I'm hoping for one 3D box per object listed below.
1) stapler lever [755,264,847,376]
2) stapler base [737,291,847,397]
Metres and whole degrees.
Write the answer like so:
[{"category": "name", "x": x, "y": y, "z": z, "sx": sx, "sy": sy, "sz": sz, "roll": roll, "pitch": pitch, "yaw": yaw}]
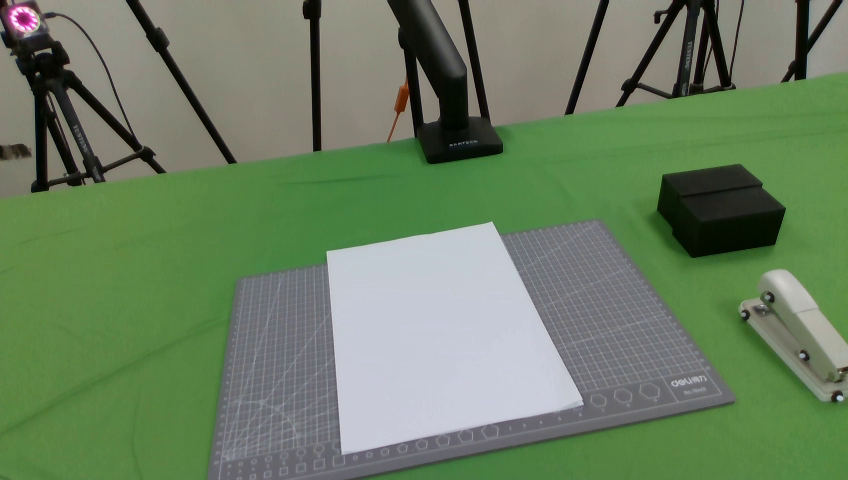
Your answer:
[{"category": "stapler lever", "x": 0.344, "y": 0.067, "z": 0.544, "sx": 0.027, "sy": 0.040, "sz": 0.117, "roll": -12, "pitch": 37, "yaw": -5}, {"category": "stapler base", "x": 0.345, "y": 0.086, "z": 0.560, "sx": 0.041, "sy": 0.024, "sz": 0.129, "roll": -12, "pitch": 38, "yaw": -6}]
